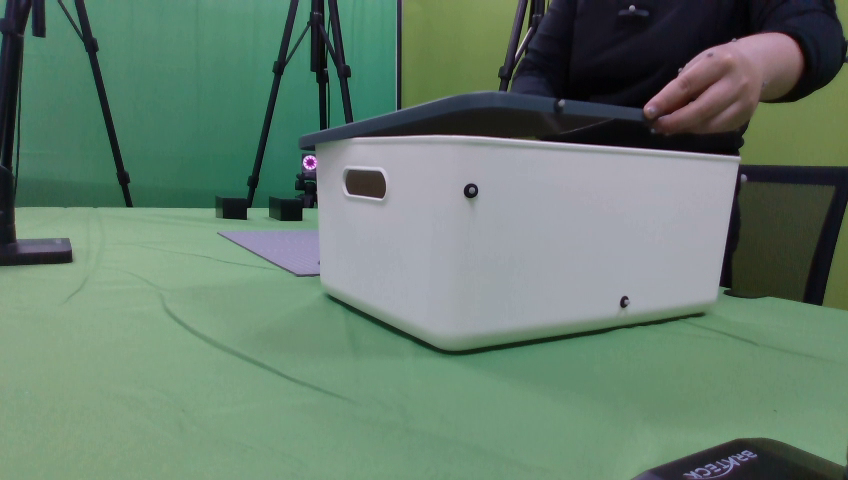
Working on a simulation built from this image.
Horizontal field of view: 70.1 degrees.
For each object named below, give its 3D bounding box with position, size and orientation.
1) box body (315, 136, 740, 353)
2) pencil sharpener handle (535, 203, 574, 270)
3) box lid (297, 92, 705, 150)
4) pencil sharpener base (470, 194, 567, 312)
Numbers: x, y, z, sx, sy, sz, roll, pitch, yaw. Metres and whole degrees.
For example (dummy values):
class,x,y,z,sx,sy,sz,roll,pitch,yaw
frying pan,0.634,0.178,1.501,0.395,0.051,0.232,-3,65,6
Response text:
class,x,y,z,sx,sy,sz,roll,pitch,yaw
box body,0.098,-0.012,0.605,0.366,0.160,0.253,-2,8,-33
pencil sharpener handle,0.137,-0.004,0.616,0.031,0.067,0.036,-3,-2,-35
box lid,0.085,-0.107,0.617,0.373,0.015,0.262,-6,4,-42
pencil sharpener base,0.093,0.010,0.590,0.077,0.107,0.061,-3,9,-35
